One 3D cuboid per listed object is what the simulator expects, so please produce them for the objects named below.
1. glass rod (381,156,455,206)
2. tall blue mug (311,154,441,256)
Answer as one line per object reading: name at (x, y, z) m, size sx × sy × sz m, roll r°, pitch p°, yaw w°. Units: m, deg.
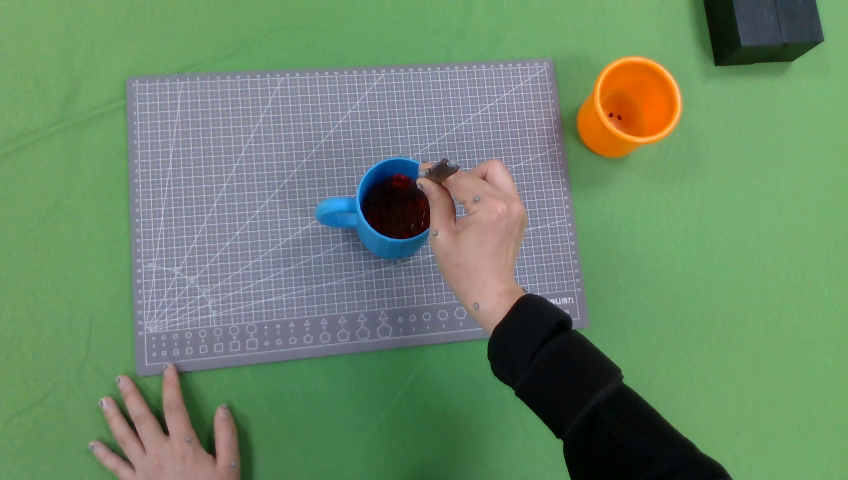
glass rod at (-0.010, -0.046, 0.510) m, size 0.008 × 0.199 × 0.008 m, roll 2°, pitch 84°, yaw -17°
tall blue mug at (-0.043, -0.022, 0.571) m, size 0.107 × 0.108 × 0.077 m, roll -29°, pitch 86°, yaw -10°
